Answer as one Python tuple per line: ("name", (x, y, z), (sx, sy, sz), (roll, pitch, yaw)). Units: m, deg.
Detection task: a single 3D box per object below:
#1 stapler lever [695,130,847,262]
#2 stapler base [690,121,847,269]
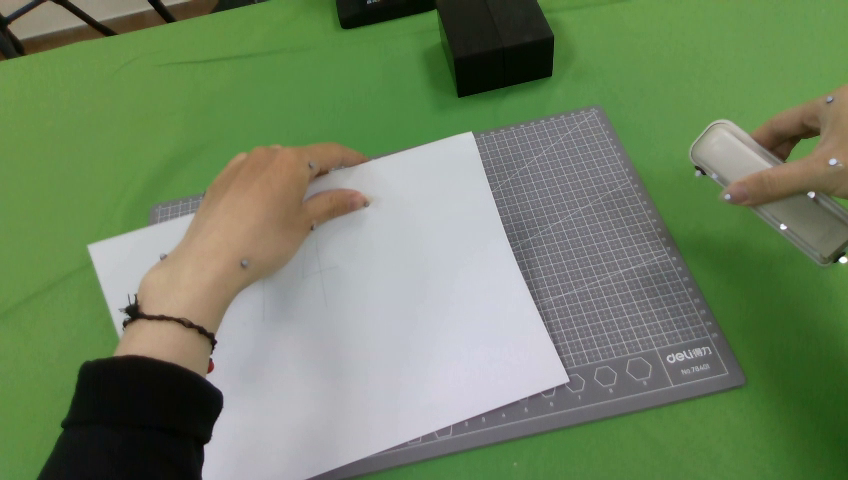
("stapler lever", (0.238, -0.032, 0.412), (0.117, 0.027, 0.040), (45, 29, 20))
("stapler base", (0.250, -0.035, 0.433), (0.129, 0.041, 0.024), (45, 29, 19))
